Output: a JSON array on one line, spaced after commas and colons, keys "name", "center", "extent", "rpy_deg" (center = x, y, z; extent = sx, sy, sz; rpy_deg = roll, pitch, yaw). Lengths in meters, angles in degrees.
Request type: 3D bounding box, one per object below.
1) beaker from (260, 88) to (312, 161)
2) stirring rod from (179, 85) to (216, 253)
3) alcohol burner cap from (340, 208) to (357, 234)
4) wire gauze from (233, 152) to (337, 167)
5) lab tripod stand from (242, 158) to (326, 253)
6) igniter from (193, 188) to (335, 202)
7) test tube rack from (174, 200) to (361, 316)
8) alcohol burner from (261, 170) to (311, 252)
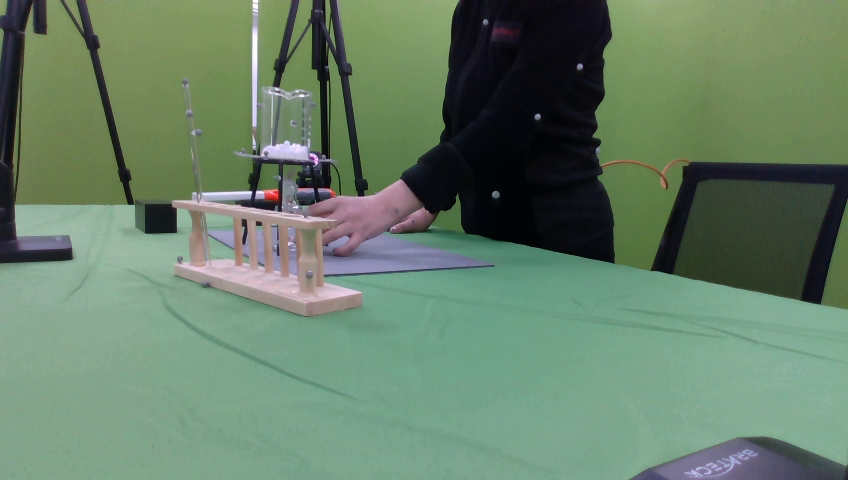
[{"name": "beaker", "center": [-0.201, -0.166, 0.876], "extent": [0.074, 0.100, 0.083], "rpy_deg": [1, 7, -18]}, {"name": "stirring rod", "center": [-0.237, -0.073, 0.634], "extent": [0.006, 0.176, 0.014], "rpy_deg": [0, 9, 41]}, {"name": "alcohol burner cap", "center": [-0.142, -0.035, 1.136], "extent": [0.034, 0.048, 0.034], "rpy_deg": [1, 6, 0]}, {"name": "wire gauze", "center": [-0.205, -0.118, 0.887], "extent": [0.122, 0.011, 0.124], "rpy_deg": [2, 4, -32]}, {"name": "lab tripod stand", "center": [-0.207, -0.054, 0.895], "extent": [0.148, 0.131, 0.148], "rpy_deg": [2, 5, 0]}, {"name": "igniter", "center": [-0.312, -0.089, 1.209], "extent": [0.278, 0.025, 0.057], "rpy_deg": [-5, 13, -31]}, {"name": "test tube rack", "center": [-0.169, 0.009, 0.622], "extent": [0.241, 0.085, 0.067], "rpy_deg": [9, 9, 41]}, {"name": "alcohol burner", "center": [-0.201, -0.043, 0.891], "extent": [0.078, 0.119, 0.078], "rpy_deg": [1, 6, 0]}]
